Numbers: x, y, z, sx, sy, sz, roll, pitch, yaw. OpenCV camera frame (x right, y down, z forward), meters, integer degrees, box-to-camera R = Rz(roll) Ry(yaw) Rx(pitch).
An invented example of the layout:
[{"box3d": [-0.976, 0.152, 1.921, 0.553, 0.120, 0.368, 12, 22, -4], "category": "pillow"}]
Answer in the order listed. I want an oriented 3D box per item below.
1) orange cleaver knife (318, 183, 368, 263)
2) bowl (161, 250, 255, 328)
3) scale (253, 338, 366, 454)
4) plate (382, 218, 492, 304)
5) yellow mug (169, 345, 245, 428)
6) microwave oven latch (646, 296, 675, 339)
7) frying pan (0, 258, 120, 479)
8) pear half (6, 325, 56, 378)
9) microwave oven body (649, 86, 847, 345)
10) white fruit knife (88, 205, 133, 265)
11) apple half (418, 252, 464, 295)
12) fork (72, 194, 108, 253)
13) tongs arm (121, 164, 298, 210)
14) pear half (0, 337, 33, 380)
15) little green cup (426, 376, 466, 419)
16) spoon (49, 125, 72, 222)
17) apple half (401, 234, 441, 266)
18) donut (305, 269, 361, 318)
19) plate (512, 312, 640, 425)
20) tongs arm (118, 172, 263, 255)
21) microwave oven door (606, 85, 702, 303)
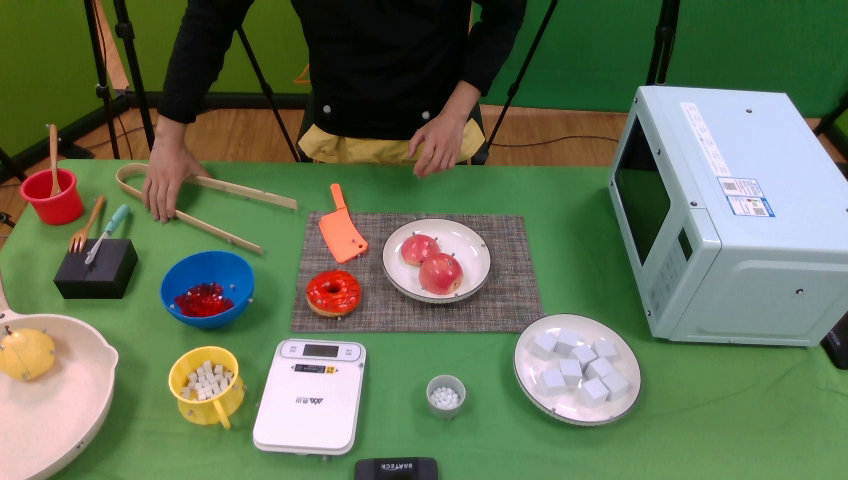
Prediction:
[{"box3d": [-0.173, -0.038, 1.218, 0.077, 0.012, 0.210, -17, 51, -11], "category": "orange cleaver knife"}, {"box3d": [-0.362, 0.098, 1.040, 0.151, 0.077, 0.150, 2, 45, -2], "category": "bowl"}, {"box3d": [-0.175, 0.236, 0.951, 0.149, 0.032, 0.199, 4, 45, -1], "category": "scale"}, {"box3d": [0.023, 0.042, 1.143, 0.209, 0.038, 0.208, 2, 46, -2], "category": "plate"}, {"box3d": [-0.322, 0.230, 0.922, 0.100, 0.064, 0.130, -24, 53, -25], "category": "yellow mug"}, {"box3d": [0.412, 0.134, 1.061, 0.030, 0.029, 0.078, 4, 45, 1], "category": "microwave oven latch"}, {"box3d": [-0.647, 0.164, 0.936, 0.307, 0.103, 0.485, -19, 58, -22], "category": "frying pan"}, {"box3d": [-0.608, 0.158, 0.935, 0.076, 0.110, 0.056, 31, 51, 20], "category": "pear half"}, {"box3d": [0.567, -0.053, 1.118, 0.326, 0.261, 0.439, 2, 45, -1], "category": "microwave oven body"}, {"box3d": [-0.584, -0.013, 1.129, 0.016, 0.027, 0.206, 0, 32, -5], "category": "white fruit knife"}, {"box3d": [0.033, 0.055, 1.109, 0.081, 0.053, 0.074, -31, 58, -28], "category": "apple half"}, {"box3d": [-0.634, -0.036, 1.158, 0.028, 0.019, 0.206, -7, 31, -8], "category": "fork"}, {"box3d": [-0.448, -0.104, 1.258, 0.384, 0.026, 0.050, 15, 52, 11], "category": "tongs arm"}, {"box3d": [-0.631, 0.184, 0.921, 0.070, 0.088, 0.031, 29, 49, 19], "category": "pear half"}, {"box3d": [0.033, 0.248, 0.950, 0.061, 0.039, 0.061, 2, 46, -2], "category": "little green cup"}, {"box3d": [-0.718, -0.131, 1.189, 0.041, 0.021, 0.193, -4, 90, -6], "category": "spoon"}, {"box3d": [-0.005, 0.014, 1.159, 0.081, 0.033, 0.081, 4, 44, -4], "category": "apple half"}, {"box3d": [-0.160, 0.094, 1.075, 0.099, 0.048, 0.098, 3, 45, -3], "category": "donut"}, {"box3d": [0.246, 0.213, 0.999, 0.208, 0.039, 0.206, 2, 46, -2], "category": "plate"}, {"box3d": [-0.476, -0.054, 1.213, 0.386, 0.028, 0.028, 24, 57, 18], "category": "tongs arm"}, {"box3d": [0.423, -0.094, 1.140, 0.039, 0.245, 0.353, 2, 46, -1], "category": "microwave oven door"}]
